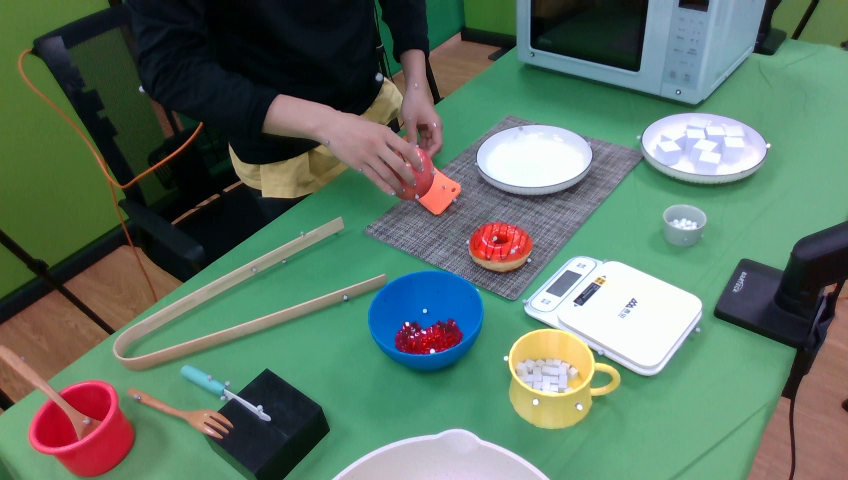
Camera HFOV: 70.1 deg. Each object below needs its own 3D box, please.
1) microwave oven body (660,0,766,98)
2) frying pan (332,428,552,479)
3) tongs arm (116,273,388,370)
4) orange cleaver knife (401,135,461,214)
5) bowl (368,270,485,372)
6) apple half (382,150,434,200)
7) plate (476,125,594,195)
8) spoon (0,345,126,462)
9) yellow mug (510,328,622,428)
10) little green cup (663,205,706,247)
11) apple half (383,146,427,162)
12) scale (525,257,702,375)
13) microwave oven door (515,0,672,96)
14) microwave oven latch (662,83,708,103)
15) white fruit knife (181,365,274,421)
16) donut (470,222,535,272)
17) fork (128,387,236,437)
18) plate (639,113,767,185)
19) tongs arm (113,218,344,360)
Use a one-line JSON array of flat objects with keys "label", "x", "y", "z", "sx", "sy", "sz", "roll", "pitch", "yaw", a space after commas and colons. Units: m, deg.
[{"label": "microwave oven body", "x": 0.472, "y": -0.513, "z": 1.317, "sx": 0.438, "sy": 0.261, "sz": 0.327, "roll": 26, "pitch": 51, "yaw": 34}, {"label": "frying pan", "x": -0.089, "y": 0.306, "z": 0.564, "sx": 0.487, "sy": 0.103, "sz": 0.306, "roll": 10, "pitch": 41, "yaw": 7}, {"label": "tongs arm", "x": -0.236, "y": 0.114, "z": 0.869, "sx": 0.389, "sy": 0.028, "sz": 0.028, "roll": -18, "pitch": 49, "yaw": -13}, {"label": "orange cleaver knife", "x": -0.006, "y": -0.121, "z": 1.092, "sx": 0.077, "sy": 0.012, "sz": 0.209, "roll": -35, "pitch": 50, "yaw": -3}, {"label": "bowl", "x": 0.007, "y": 0.118, "z": 0.791, "sx": 0.151, "sy": 0.077, "sz": 0.150, "roll": -4, "pitch": 40, "yaw": 4}, {"label": "apple half", "x": -0.023, "y": -0.094, "z": 0.934, "sx": 0.081, "sy": 0.075, "sz": 0.053, "roll": -10, "pitch": 49, "yaw": -2}, {"label": "plate", "x": 0.199, "y": -0.141, "z": 1.093, "sx": 0.209, "sy": 0.038, "sz": 0.208, "roll": -4, "pitch": 40, "yaw": 4}, {"label": "spoon", "x": -0.434, "y": 0.192, "z": 0.720, "sx": 0.194, "sy": 0.021, "sz": 0.042, "roll": 47, "pitch": 54, "yaw": -7}, {"label": "yellow mug", "x": 0.169, "y": 0.164, "z": 0.722, "sx": 0.130, "sy": 0.064, "sz": 0.099, "roll": 0, "pitch": 40, "yaw": 8}, {"label": "little green cup", "x": 0.396, "y": -0.020, "z": 0.926, "sx": 0.061, "sy": 0.039, "sz": 0.061, "roll": -4, "pitch": 40, "yaw": 4}, {"label": "apple half", "x": -0.028, "y": -0.122, "z": 0.960, "sx": 0.081, "sy": 0.081, "sz": 0.032, "roll": -9, "pitch": 49, "yaw": -2}, {"label": "scale", "x": 0.254, "y": 0.091, "z": 0.821, "sx": 0.199, "sy": 0.032, "sz": 0.149, "roll": 28, "pitch": 51, "yaw": 35}, {"label": "microwave oven door", "x": 0.343, "y": -0.454, "z": 1.259, "sx": 0.353, "sy": 0.245, "sz": 0.039, "roll": 26, "pitch": 51, "yaw": 33}, {"label": "microwave oven latch", "x": 0.518, "y": -0.296, "z": 1.204, "sx": 0.078, "sy": 0.029, "sz": 0.030, "roll": 28, "pitch": 52, "yaw": 35}, {"label": "white fruit knife", "x": -0.246, "y": 0.187, "z": 0.747, "sx": 0.205, "sy": 0.027, "sz": 0.016, "roll": 9, "pitch": 41, "yaw": 40}, {"label": "donut", "x": 0.119, "y": 0.009, "z": 0.923, "sx": 0.099, "sy": 0.048, "sz": 0.098, "roll": -4, "pitch": 38, "yaw": 4}, {"label": "fork", "x": -0.305, "y": 0.207, "z": 0.744, "sx": 0.206, "sy": 0.019, "sz": 0.028, "roll": 3, "pitch": 41, "yaw": 36}, {"label": "plate", "x": 0.489, "y": -0.157, "z": 1.074, "sx": 0.207, "sy": 0.039, "sz": 0.206, "roll": -4, "pitch": 40, "yaw": 4}, {"label": "tongs arm", "x": -0.280, "y": 0.067, "z": 0.926, "sx": 0.386, "sy": 0.026, "sz": 0.050, "roll": -28, "pitch": 49, "yaw": -24}]
